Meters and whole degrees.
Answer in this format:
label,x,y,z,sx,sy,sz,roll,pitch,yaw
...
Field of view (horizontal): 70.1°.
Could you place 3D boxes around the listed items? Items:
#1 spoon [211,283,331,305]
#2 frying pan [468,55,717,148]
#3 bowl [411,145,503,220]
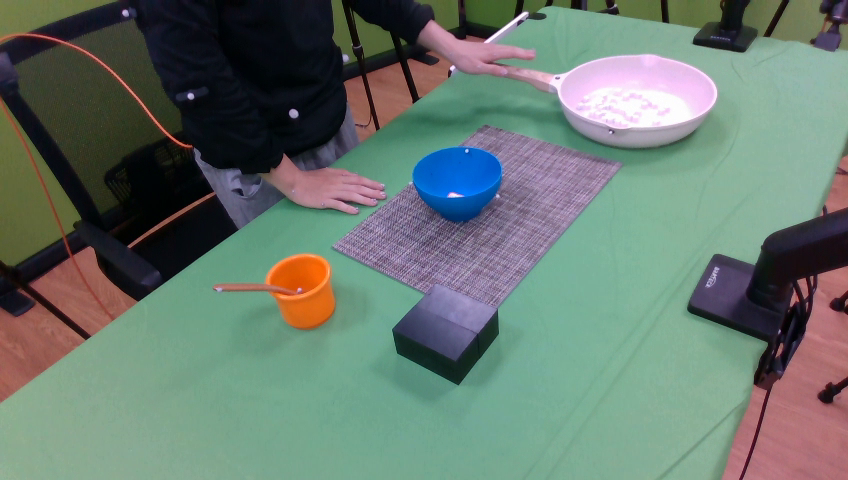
label,x,y,z,sx,sy,sz,roll,pitch,yaw
spoon,-0.201,0.069,0.819,0.041,0.195,0.021,33,99,37
frying pan,0.316,-0.304,1.213,0.485,0.103,0.307,20,46,17
bowl,0.058,-0.086,1.010,0.151,0.077,0.150,-4,41,4
